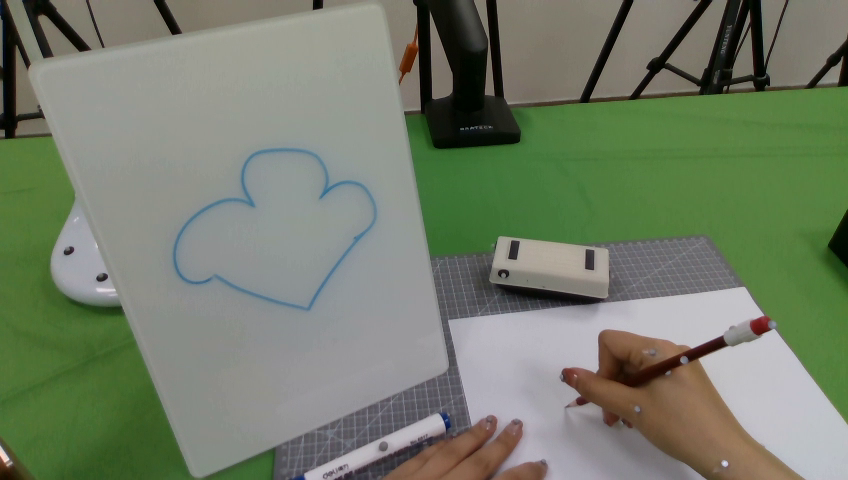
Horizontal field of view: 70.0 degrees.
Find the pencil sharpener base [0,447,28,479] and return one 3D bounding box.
[{"bbox_3d":[-0.284,0.175,0.372,0.061,0.108,0.076,30,48,30],"label":"pencil sharpener base"}]

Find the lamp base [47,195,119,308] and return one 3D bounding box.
[{"bbox_3d":[-0.314,-0.051,0.588,0.178,0.182,0.160,22,44,28],"label":"lamp base"}]

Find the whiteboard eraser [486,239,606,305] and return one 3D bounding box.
[{"bbox_3d":[0.120,0.032,0.593,0.112,0.042,0.055,8,41,9],"label":"whiteboard eraser"}]

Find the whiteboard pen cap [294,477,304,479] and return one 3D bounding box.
[{"bbox_3d":[-0.098,0.181,0.427,0.033,0.018,0.018,-20,43,-20],"label":"whiteboard pen cap"}]

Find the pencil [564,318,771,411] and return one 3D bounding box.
[{"bbox_3d":[0.154,0.093,0.419,0.012,0.194,0.012,13,57,-20],"label":"pencil"}]

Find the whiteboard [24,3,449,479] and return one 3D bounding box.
[{"bbox_3d":[-0.127,-0.007,0.483,0.218,0.307,0.142,-19,24,-20],"label":"whiteboard"}]

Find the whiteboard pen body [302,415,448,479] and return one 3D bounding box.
[{"bbox_3d":[-0.046,0.163,0.448,0.141,0.017,0.017,-19,43,-19],"label":"whiteboard pen body"}]
